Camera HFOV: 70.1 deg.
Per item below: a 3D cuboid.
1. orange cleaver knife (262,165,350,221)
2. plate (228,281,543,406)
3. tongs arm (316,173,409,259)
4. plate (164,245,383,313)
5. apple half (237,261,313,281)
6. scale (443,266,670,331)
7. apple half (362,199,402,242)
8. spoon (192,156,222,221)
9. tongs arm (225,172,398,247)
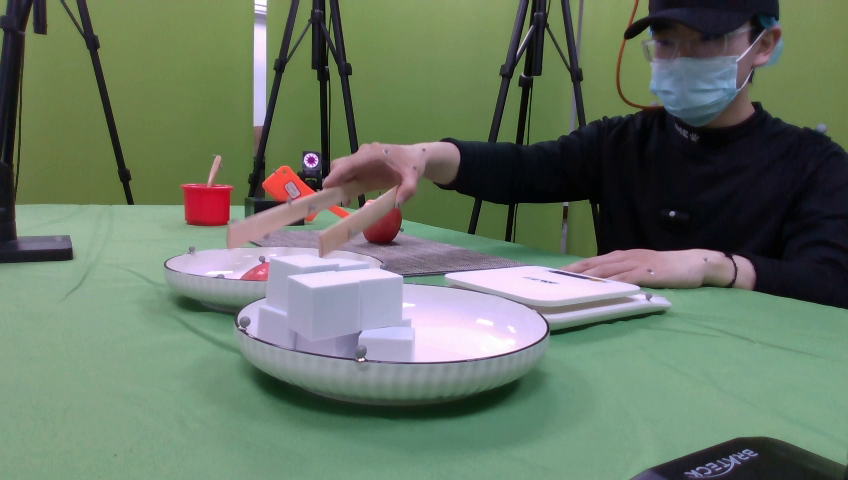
[{"bbox_3d":[-0.243,-0.081,1.292,0.212,0.077,0.012,34,-8,-26],"label":"orange cleaver knife"},{"bbox_3d":[-0.025,0.067,0.413,0.208,0.039,0.207,3,7,0],"label":"plate"},{"bbox_3d":[-0.063,-0.041,0.729,0.028,0.028,0.388,1,14,11],"label":"tongs arm"},{"bbox_3d":[-0.145,0.038,0.600,0.209,0.038,0.209,2,7,0],"label":"plate"},{"bbox_3d":[-0.141,0.036,0.578,0.081,0.033,0.081,2,11,0],"label":"apple half"},{"bbox_3d":[0.131,0.052,0.603,0.202,0.031,0.148,-2,9,-37],"label":"scale"},{"bbox_3d":[-0.066,-0.033,1.014,0.053,0.074,0.081,10,6,21],"label":"apple half"},{"bbox_3d":[-0.430,-0.108,1.222,0.041,0.021,0.193,-1,52,0],"label":"spoon"},{"bbox_3d":[-0.113,-0.047,0.741,0.050,0.026,0.385,6,15,14],"label":"tongs arm"}]
